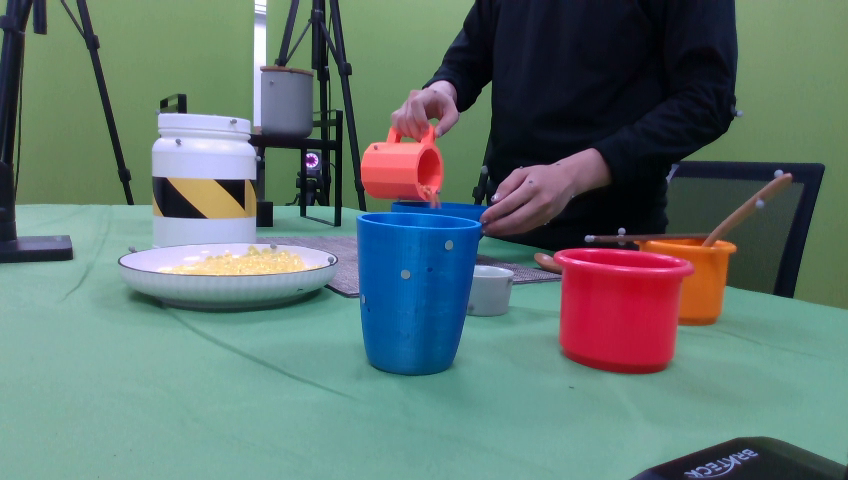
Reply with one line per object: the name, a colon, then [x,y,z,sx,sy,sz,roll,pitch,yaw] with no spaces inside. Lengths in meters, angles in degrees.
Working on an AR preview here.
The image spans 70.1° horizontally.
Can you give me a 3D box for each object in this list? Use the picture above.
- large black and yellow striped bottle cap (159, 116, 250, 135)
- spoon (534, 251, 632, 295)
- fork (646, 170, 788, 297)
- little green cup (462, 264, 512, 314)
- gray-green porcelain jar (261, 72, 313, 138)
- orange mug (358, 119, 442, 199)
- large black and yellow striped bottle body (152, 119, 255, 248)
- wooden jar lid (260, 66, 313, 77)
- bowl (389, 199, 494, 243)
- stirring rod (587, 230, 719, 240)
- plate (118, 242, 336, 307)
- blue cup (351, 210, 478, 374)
large black and yellow striped bottle cap: [-0.292,-0.153,0.810,0.115,0.019,0.115,3,8,0]
spoon: [0.193,0.038,0.753,0.042,0.021,0.193,14,2,-21]
fork: [0.256,0.004,0.543,0.028,0.018,0.207,3,-36,-9]
little green cup: [0.053,0.047,0.580,0.061,0.038,0.061,3,8,0]
gray-green porcelain jar: [-0.284,-0.276,1.253,0.106,0.126,0.106,2,8,0]
orange mug: [-0.030,-0.123,0.915,0.100,0.126,0.084,10,-12,31]
large black and yellow striped bottle body: [-0.296,-0.070,0.819,0.131,0.184,0.130,2,7,0]
wooden jar lid: [-0.282,-0.339,1.244,0.108,0.020,0.108,5,8,0]
bowl: [0.023,-0.015,0.872,0.151,0.077,0.151,3,7,0]
stirring rod: [0.226,-0.005,0.587,0.177,0.006,0.014,-2,10,-29]
plate: [-0.194,0.033,0.615,0.209,0.038,0.209,2,7,0]
blue cup: [-0.009,0.034,0.414,0.093,0.100,0.092,4,8,0]
